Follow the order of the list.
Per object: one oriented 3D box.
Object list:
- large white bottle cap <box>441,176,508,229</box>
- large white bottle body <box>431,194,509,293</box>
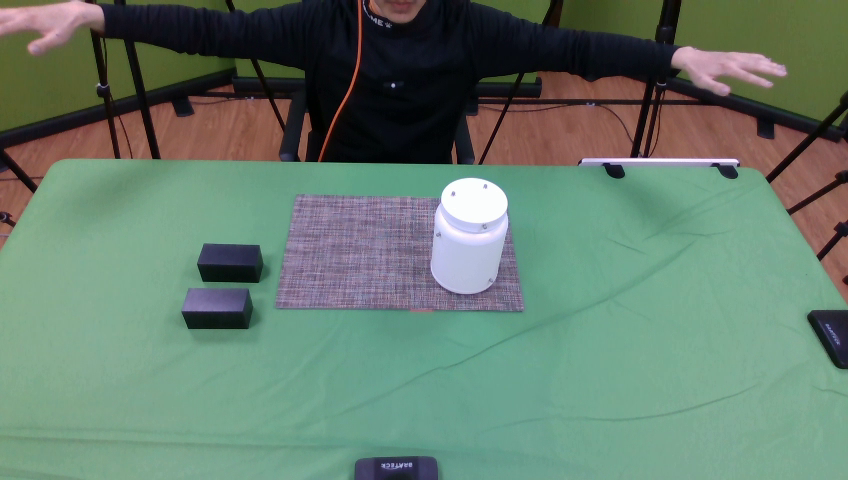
[{"bbox_3d":[0.086,-0.065,1.030,0.115,0.018,0.114,2,47,-2],"label":"large white bottle cap"},{"bbox_3d":[0.081,-0.007,1.091,0.131,0.185,0.130,2,47,-2],"label":"large white bottle body"}]
